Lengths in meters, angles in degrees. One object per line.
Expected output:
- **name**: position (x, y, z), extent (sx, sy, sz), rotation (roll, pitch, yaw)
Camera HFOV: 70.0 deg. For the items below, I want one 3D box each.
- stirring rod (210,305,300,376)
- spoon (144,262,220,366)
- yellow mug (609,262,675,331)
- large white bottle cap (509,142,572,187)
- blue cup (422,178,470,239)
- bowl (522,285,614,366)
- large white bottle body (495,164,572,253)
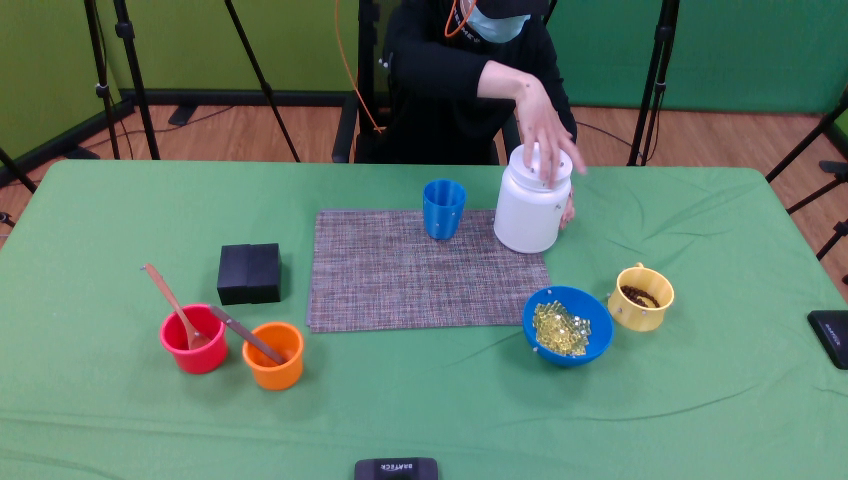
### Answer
- **stirring rod**: position (-0.262, 0.158, 0.946), extent (0.177, 0.006, 0.014), rotation (43, 43, -21)
- **spoon**: position (-0.389, 0.118, 0.970), extent (0.041, 0.021, 0.194), rotation (-34, 101, -33)
- **yellow mug**: position (0.393, 0.094, 1.103), extent (0.100, 0.064, 0.130), rotation (7, 45, 4)
- **large white bottle cap**: position (0.213, -0.140, 1.107), extent (0.115, 0.018, 0.114), rotation (2, 46, -2)
- **blue cup**: position (0.036, -0.056, 1.192), extent (0.093, 0.101, 0.092), rotation (3, 46, -3)
- **bowl**: position (0.235, 0.158, 1.022), extent (0.151, 0.077, 0.150), rotation (2, 46, -2)
- **large white bottle body**: position (0.210, -0.079, 1.169), extent (0.131, 0.185, 0.130), rotation (1, 46, -1)
